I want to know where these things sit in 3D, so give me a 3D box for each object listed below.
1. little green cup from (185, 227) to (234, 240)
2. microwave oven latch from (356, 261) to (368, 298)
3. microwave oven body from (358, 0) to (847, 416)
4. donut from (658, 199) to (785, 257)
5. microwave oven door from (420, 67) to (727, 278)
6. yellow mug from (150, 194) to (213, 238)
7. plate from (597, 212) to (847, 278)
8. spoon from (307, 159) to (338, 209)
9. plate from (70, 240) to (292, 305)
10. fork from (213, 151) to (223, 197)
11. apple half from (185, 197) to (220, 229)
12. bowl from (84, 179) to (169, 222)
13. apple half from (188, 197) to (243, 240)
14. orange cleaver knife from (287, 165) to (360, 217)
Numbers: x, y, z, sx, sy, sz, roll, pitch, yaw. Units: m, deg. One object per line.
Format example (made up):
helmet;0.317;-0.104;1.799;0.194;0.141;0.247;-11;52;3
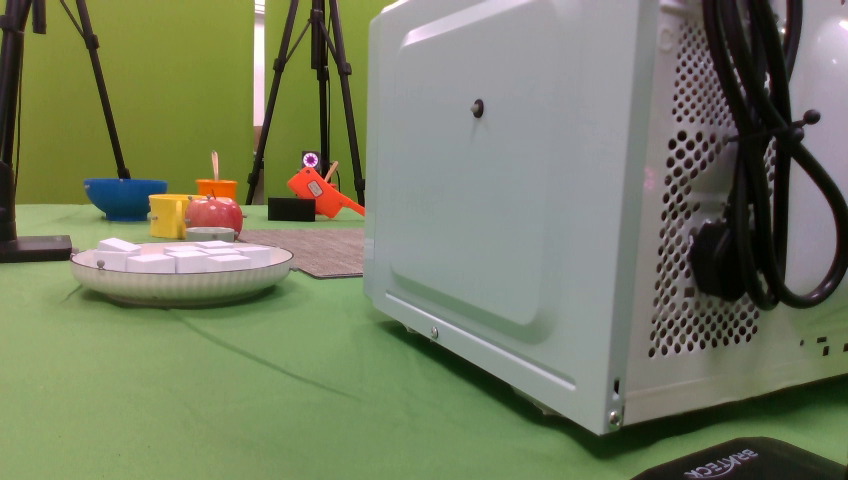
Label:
little green cup;-0.285;0.005;0.805;0.061;0.038;0.061;2;8;0
microwave oven latch;-0.019;0.033;0.530;0.079;0.029;0.030;0;7;-26
microwave oven body;0.211;-0.047;0.475;0.444;0.260;0.324;-1;7;-28
donut;0.252;-0.010;0.517;0.099;0.048;0.099;3;5;0
microwave oven door;0.172;-0.090;0.757;0.355;0.243;0.039;5;8;19
yellow mug;-0.401;-0.040;1.003;0.100;0.064;0.130;-1;9;-20
plate;0.255;0.002;0.519;0.209;0.038;0.209;2;7;0
spoon;-0.257;-0.147;1.567;0.041;0.022;0.193;2;50;19
plate;-0.242;0.031;0.618;0.208;0.039;0.207;2;8;0
fork;-0.494;-0.143;1.442;0.028;0.018;0.206;-2;52;-20
apple half;-0.338;-0.031;0.927;0.032;0.081;0.081;12;12;31
bowl;-0.584;-0.078;1.194;0.151;0.077;0.151;3;8;0
apple half;-0.305;-0.026;0.907;0.053;0.074;0.081;12;8;31
orange cleaver knife;-0.210;-0.093;1.382;0.212;0.077;0.012;33;1;-15
